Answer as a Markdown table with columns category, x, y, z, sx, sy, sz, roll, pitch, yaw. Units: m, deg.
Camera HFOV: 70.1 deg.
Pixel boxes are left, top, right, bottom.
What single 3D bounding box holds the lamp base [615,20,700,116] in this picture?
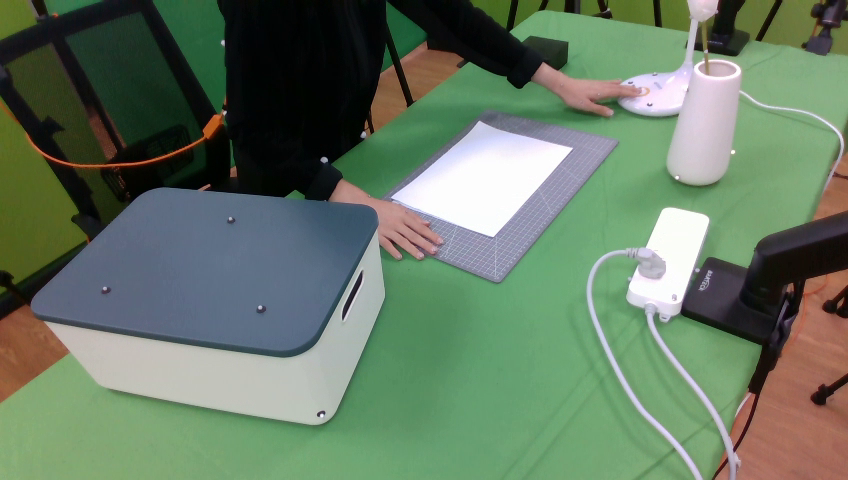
| category | x | y | z | sx | sy | sz | roll | pitch | yaw |
| --- | --- | --- | --- | --- | --- | --- | --- | --- | --- |
| lamp base | 0.484 | -0.364 | 1.211 | 0.180 | 0.181 | 0.159 | -15 | 41 | -14 |

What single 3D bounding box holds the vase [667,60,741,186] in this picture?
| category | x | y | z | sx | sy | sz | roll | pitch | yaw |
| --- | --- | --- | --- | --- | --- | --- | --- | --- | --- |
| vase | 0.463 | -0.189 | 0.994 | 0.098 | 0.201 | 0.097 | -4 | 40 | 4 |

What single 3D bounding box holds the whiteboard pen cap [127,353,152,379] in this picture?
| category | x | y | z | sx | sy | sz | roll | pitch | yaw |
| --- | --- | --- | --- | --- | --- | --- | --- | --- | --- |
| whiteboard pen cap | -0.385 | 0.171 | 0.820 | 0.018 | 0.018 | 0.033 | 7 | 42 | 16 |

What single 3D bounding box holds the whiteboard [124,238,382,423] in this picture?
| category | x | y | z | sx | sy | sz | roll | pitch | yaw |
| --- | --- | --- | --- | --- | --- | --- | --- | --- | --- |
| whiteboard | -0.242 | 0.094 | 0.809 | 0.304 | 0.144 | 0.216 | 4 | 45 | 13 |

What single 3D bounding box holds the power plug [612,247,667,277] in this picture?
| category | x | y | z | sx | sy | sz | roll | pitch | yaw |
| --- | --- | --- | --- | --- | --- | --- | --- | --- | --- |
| power plug | 0.306 | 0.031 | 0.852 | 0.072 | 0.053 | 0.035 | 21 | 48 | 38 |

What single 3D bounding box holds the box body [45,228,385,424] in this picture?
| category | x | y | z | sx | sy | sz | roll | pitch | yaw |
| --- | --- | --- | --- | --- | --- | --- | --- | --- | --- |
| box body | -0.254 | 0.082 | 0.807 | 0.363 | 0.161 | 0.253 | 5 | 42 | 14 |

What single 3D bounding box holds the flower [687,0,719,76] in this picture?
| category | x | y | z | sx | sy | sz | roll | pitch | yaw |
| --- | --- | --- | --- | --- | --- | --- | --- | --- | --- |
| flower | 0.436 | -0.242 | 0.934 | 0.038 | 0.364 | 0.043 | -24 | 49 | 9 |

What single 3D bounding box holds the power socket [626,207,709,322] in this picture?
| category | x | y | z | sx | sy | sz | roll | pitch | yaw |
| --- | --- | --- | --- | --- | --- | --- | --- | --- | --- |
| power socket | 0.360 | 0.026 | 0.886 | 0.072 | 0.033 | 0.227 | 17 | 46 | 27 |

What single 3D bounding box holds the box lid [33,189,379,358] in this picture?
| category | x | y | z | sx | sy | sz | roll | pitch | yaw |
| --- | --- | --- | --- | --- | --- | --- | --- | --- | --- |
| box lid | -0.260 | 0.025 | 0.758 | 0.370 | 0.015 | 0.263 | 5 | 41 | 14 |

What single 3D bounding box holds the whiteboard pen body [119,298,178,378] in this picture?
| category | x | y | z | sx | sy | sz | roll | pitch | yaw |
| --- | --- | --- | --- | --- | --- | --- | --- | --- | --- |
| whiteboard pen body | -0.396 | 0.139 | 0.869 | 0.017 | 0.017 | 0.140 | 6 | 46 | 15 |
